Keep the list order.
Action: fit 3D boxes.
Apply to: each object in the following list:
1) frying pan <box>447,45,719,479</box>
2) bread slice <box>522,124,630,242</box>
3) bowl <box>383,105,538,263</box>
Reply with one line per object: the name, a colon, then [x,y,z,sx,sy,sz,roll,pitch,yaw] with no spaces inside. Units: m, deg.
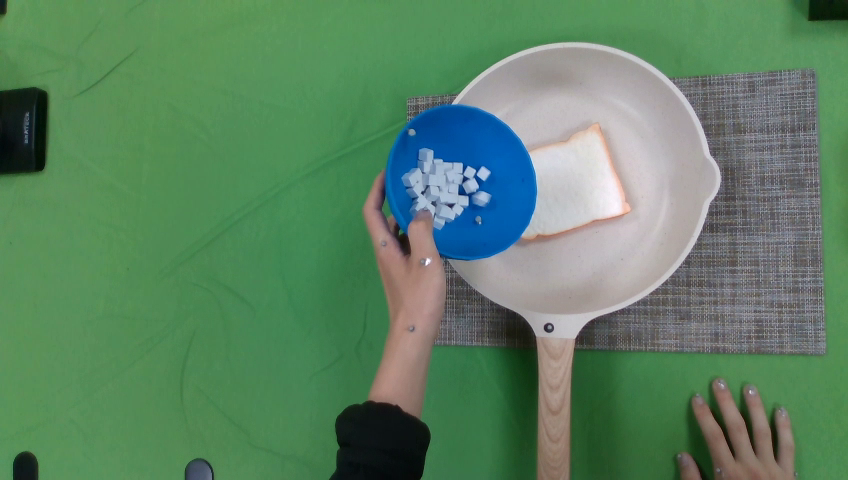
frying pan: [0.140,0.042,0.637,0.306,0.103,0.485,1,78,15]
bread slice: [0.151,-0.055,0.683,0.134,0.018,0.106,-22,81,9]
bowl: [0.025,-0.046,0.590,0.152,0.077,0.150,4,79,-19]
